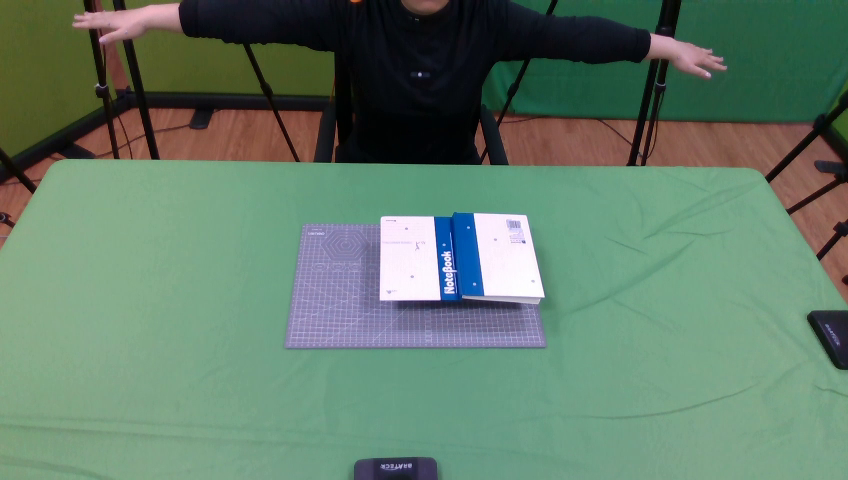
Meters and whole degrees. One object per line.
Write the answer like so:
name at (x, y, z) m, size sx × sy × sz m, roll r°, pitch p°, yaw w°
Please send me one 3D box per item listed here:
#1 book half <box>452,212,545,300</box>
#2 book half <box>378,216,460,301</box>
book half at (0.132, 0.026, 1.116) m, size 0.149 × 0.016 × 0.209 m, roll 2°, pitch 45°, yaw -5°
book half at (-0.011, 0.029, 1.110) m, size 0.143 × 0.007 × 0.208 m, roll 0°, pitch 46°, yaw -4°
